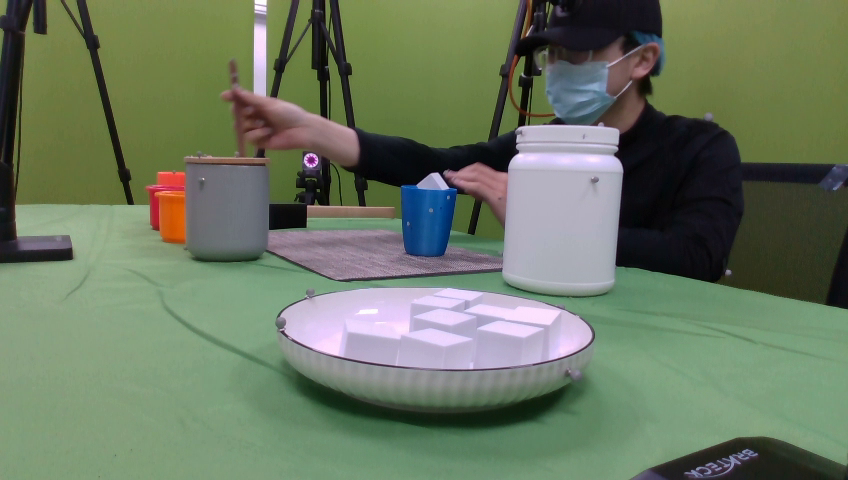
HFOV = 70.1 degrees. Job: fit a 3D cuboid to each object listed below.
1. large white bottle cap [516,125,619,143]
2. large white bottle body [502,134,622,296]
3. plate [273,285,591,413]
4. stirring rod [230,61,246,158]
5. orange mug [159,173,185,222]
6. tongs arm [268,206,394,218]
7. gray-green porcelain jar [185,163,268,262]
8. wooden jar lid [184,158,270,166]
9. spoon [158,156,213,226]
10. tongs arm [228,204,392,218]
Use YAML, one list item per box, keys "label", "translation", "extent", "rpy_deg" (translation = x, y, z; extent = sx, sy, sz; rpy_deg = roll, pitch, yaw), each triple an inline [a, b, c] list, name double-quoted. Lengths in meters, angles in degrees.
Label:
- label: "large white bottle cap"
  translation: [0.164, -0.120, 0.695]
  extent: [0.115, 0.018, 0.115]
  rpy_deg: [2, 8, 0]
- label: "large white bottle body"
  translation: [0.160, -0.036, 0.706]
  extent: [0.131, 0.184, 0.130]
  rpy_deg: [2, 7, 0]
- label: "plate"
  translation: [0.005, 0.069, 0.407]
  extent: [0.208, 0.039, 0.207]
  rpy_deg: [2, 7, 0]
- label: "stirring rod"
  translation: [-0.289, -0.204, 0.940]
  extent: [0.006, 0.175, 0.014]
  rpy_deg: [-19, -21, 21]
- label: "orange mug"
  translation: [-0.477, -0.089, 1.241]
  extent: [0.127, 0.101, 0.083]
  rpy_deg: [-7, 11, -33]
- label: "tongs arm"
  translation: [-0.231, -0.064, 1.380]
  extent: [0.387, 0.026, 0.050]
  rpy_deg: [-1, 3, -32]
- label: "gray-green porcelain jar"
  translation: [-0.263, -0.038, 0.808]
  extent: [0.106, 0.126, 0.106]
  rpy_deg: [3, 8, 0]
- label: "wooden jar lid"
  translation: [-0.260, -0.099, 0.801]
  extent: [0.108, 0.020, 0.108]
  rpy_deg: [0, 9, 0]
- label: "spoon"
  translation: [-0.435, -0.094, 1.121]
  extent: [0.041, 0.022, 0.193]
  rpy_deg: [5, 51, 14]
- label: "tongs arm"
  translation: [-0.268, -0.070, 1.453]
  extent: [0.389, 0.027, 0.028]
  rpy_deg: [0, -1, -18]
